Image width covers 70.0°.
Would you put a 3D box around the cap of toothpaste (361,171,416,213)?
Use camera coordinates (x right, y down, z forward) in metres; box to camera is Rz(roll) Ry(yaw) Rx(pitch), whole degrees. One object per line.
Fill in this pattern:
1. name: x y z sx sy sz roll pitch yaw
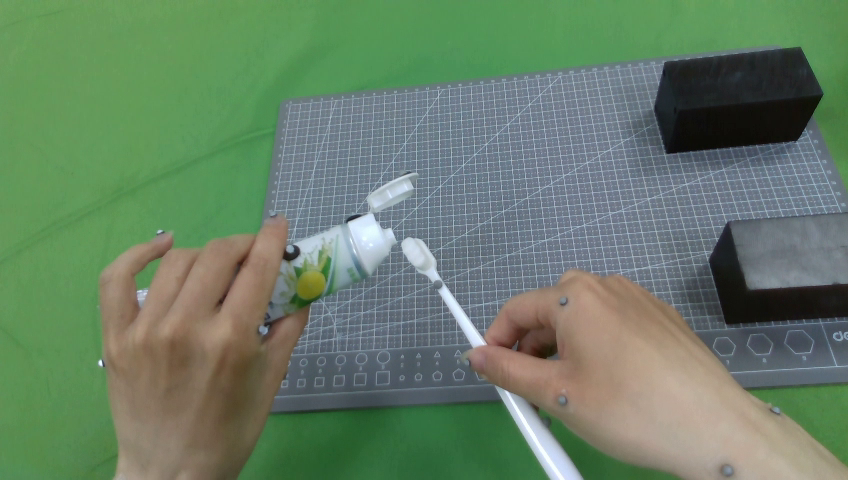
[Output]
1. cap of toothpaste: -0.019 -0.028 0.357 0.037 0.037 0.011 -29 85 -8

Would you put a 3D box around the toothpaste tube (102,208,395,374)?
1. toothpaste tube: -0.094 0.023 0.349 0.165 0.055 0.034 -23 18 -4

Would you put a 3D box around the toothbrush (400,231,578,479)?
1. toothbrush: 0.035 0.067 0.328 0.017 0.014 0.180 -6 56 -48
